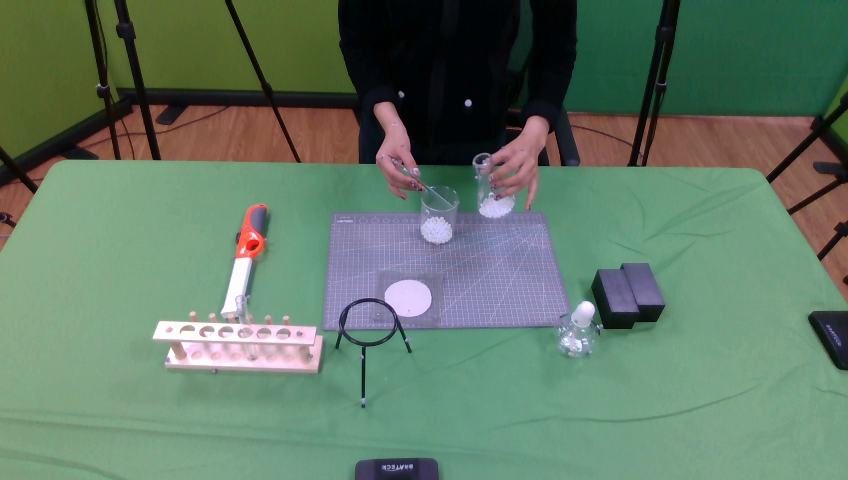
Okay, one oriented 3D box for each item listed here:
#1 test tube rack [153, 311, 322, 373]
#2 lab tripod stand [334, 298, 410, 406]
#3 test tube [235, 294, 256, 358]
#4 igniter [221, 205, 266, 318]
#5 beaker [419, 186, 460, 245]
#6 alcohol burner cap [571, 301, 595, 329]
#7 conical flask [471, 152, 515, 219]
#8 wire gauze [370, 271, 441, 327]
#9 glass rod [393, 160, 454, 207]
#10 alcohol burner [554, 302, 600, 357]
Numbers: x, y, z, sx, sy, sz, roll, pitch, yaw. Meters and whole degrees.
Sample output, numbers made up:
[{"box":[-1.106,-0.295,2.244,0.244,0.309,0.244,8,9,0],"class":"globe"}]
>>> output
[{"box":[-0.293,0.160,0.978,0.242,0.085,0.066,3,46,-2],"class":"test tube rack"},{"box":[-0.085,0.164,0.957,0.148,0.132,0.147,3,44,-2],"class":"lab tripod stand"},{"box":[-0.274,0.136,0.933,0.017,0.151,0.017,4,46,-4],"class":"test tube"},{"box":[-0.338,0.030,1.140,0.057,0.025,0.274,-5,46,4],"class":"igniter"},{"box":[0.025,-0.047,1.191,0.074,0.101,0.083,-29,54,-29],"class":"beaker"},{"box":[0.262,0.120,0.991,0.034,0.048,0.033,2,52,-2],"class":"alcohol burner cap"},{"box":[0.119,-0.103,1.112,0.075,0.122,0.075,-14,41,13],"class":"conical flask"},{"box":[-0.032,0.103,1.104,0.125,0.011,0.121,4,46,3],"class":"wire gauze"},{"box":[0.003,-0.101,1.117,0.008,0.201,0.008,-15,61,30],"class":"glass rod"},{"box":[0.260,0.143,1.018,0.078,0.119,0.077,3,45,-3],"class":"alcohol burner"}]
